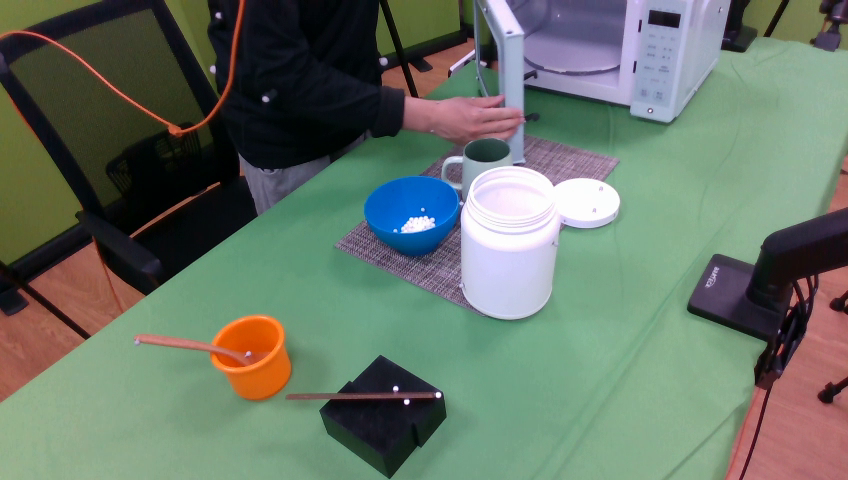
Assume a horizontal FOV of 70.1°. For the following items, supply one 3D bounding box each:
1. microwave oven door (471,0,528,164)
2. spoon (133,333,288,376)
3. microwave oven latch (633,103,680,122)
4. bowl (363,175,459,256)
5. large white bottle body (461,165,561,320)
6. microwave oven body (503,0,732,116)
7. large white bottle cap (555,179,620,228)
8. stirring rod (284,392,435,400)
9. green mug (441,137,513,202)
[{"bbox_3d":[0.140,-0.342,1.153,0.039,0.245,0.353,-9,40,-2],"label":"microwave oven door"},{"bbox_3d":[-0.257,0.137,0.747,0.021,0.195,0.041,-47,40,23],"label":"spoon"},{"bbox_3d":[0.443,-0.249,1.158,0.078,0.029,0.030,21,49,30],"label":"microwave oven latch"},{"bbox_3d":[-0.017,-0.028,0.955,0.151,0.077,0.150,-4,40,4],"label":"bowl"},{"bbox_3d":[0.115,0.004,0.816,0.130,0.185,0.130,-2,43,2],"label":"large white bottle body"},{"bbox_3d":[0.377,-0.463,1.267,0.438,0.261,0.327,21,49,30],"label":"microwave oven body"},{"bbox_3d":[0.265,-0.062,1.001,0.115,0.018,0.114,-3,41,3],"label":"large white bottle cap"},{"bbox_3d":[-0.075,0.180,0.698,0.176,0.006,0.014,-2,6,6],"label":"stirring rod"},{"bbox_3d":[0.091,-0.107,1.012,0.125,0.105,0.092,2,42,11],"label":"green mug"}]
